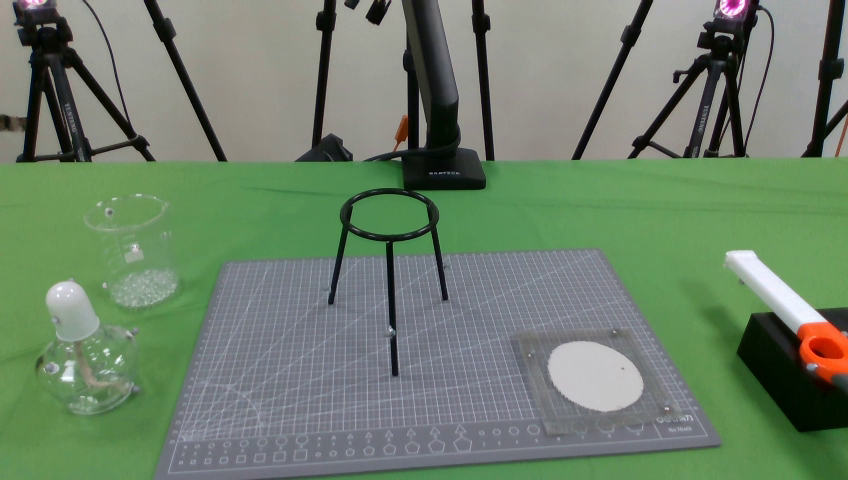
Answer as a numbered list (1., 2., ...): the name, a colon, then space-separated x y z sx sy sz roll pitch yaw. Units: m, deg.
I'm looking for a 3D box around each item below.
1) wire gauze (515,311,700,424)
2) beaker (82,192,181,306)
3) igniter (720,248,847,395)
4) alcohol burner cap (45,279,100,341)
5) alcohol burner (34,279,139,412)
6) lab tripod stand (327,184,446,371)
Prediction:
1. wire gauze: 0.163 0.111 0.544 0.125 0.011 0.120 -8 31 -27
2. beaker: -0.294 0.010 0.624 0.073 0.101 0.084 29 41 35
3. igniter: 0.341 0.083 0.526 0.057 0.025 0.274 -3 30 -4
4. alcohol burner cap: -0.280 0.052 0.478 0.034 0.048 0.033 3 37 -2
5. alcohol burner: -0.280 0.082 0.497 0.078 0.120 0.077 3 31 -1
6. lab tripod stand: -0.032 0.027 0.575 0.148 0.132 0.147 3 34 -2
